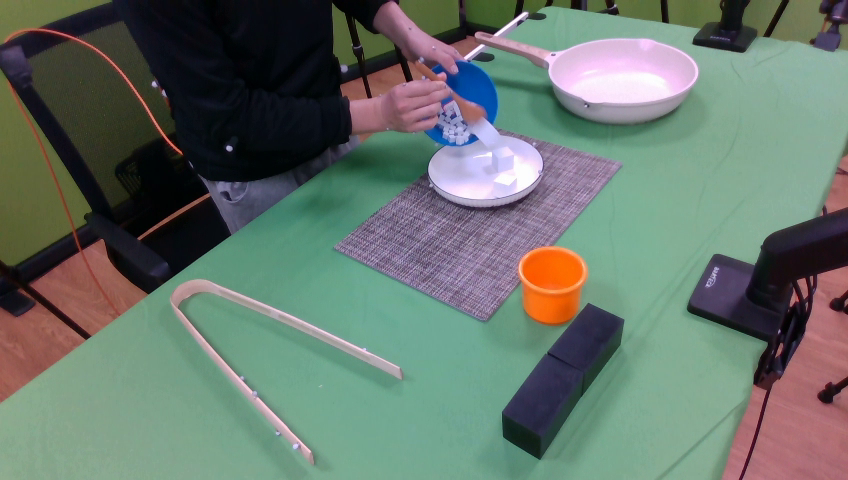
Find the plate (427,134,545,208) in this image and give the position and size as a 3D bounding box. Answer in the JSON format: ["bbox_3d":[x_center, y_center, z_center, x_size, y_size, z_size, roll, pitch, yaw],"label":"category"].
[{"bbox_3d":[0.110,-0.119,1.073,0.207,0.039,0.206,-4,41,4],"label":"plate"}]

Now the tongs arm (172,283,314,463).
[{"bbox_3d":[-0.246,0.161,0.806,0.381,0.026,0.051,29,51,36],"label":"tongs arm"}]

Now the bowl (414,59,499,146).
[{"bbox_3d":[0.057,-0.247,1.100,0.151,0.151,0.076,-6,9,1],"label":"bowl"}]

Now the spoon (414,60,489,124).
[{"bbox_3d":[0.045,-0.239,0.985,0.041,0.195,0.021,-28,52,29],"label":"spoon"}]

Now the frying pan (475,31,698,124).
[{"bbox_3d":[0.320,-0.371,1.290,0.485,0.103,0.307,28,50,23],"label":"frying pan"}]

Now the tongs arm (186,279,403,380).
[{"bbox_3d":[-0.193,0.120,0.853,0.385,0.028,0.028,18,48,27],"label":"tongs arm"}]
